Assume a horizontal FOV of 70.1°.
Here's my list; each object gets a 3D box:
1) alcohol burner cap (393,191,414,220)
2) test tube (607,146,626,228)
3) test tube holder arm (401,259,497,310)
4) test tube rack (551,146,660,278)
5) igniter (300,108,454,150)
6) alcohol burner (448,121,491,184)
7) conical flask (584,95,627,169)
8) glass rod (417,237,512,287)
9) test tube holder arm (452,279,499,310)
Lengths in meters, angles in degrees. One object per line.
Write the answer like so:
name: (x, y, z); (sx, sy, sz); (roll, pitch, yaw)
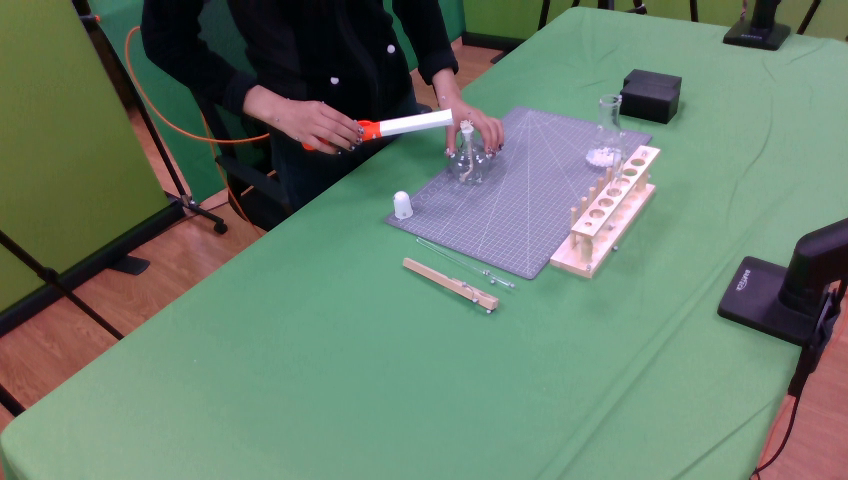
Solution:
alcohol burner cap: (-0.037, -0.062, 1.045); (0.034, 0.048, 0.033); (-5, 41, 5)
test tube: (0.283, -0.074, 0.892); (0.017, 0.151, 0.017); (-5, 44, 6)
test tube holder arm: (0.034, 0.064, 0.903); (0.177, 0.015, 0.013); (23, 15, 33)
test tube rack: (0.286, -0.053, 0.943); (0.066, 0.085, 0.243); (21, 49, 32)
igniter: (-0.086, -0.194, 1.060); (0.276, 0.025, 0.057); (-9, 46, 6)
alcohol burner: (0.081, -0.160, 1.083); (0.078, 0.119, 0.077); (-4, 40, 4)
conical flask: (0.323, -0.192, 1.066); (0.075, 0.122, 0.075); (-6, 40, 5)
glass rod: (0.059, 0.032, 0.945); (0.198, 0.008, 0.008); (27, 52, 38)
test tube holder arm: (0.071, 0.078, 0.883); (0.087, 0.015, 0.010); (23, 16, 34)
